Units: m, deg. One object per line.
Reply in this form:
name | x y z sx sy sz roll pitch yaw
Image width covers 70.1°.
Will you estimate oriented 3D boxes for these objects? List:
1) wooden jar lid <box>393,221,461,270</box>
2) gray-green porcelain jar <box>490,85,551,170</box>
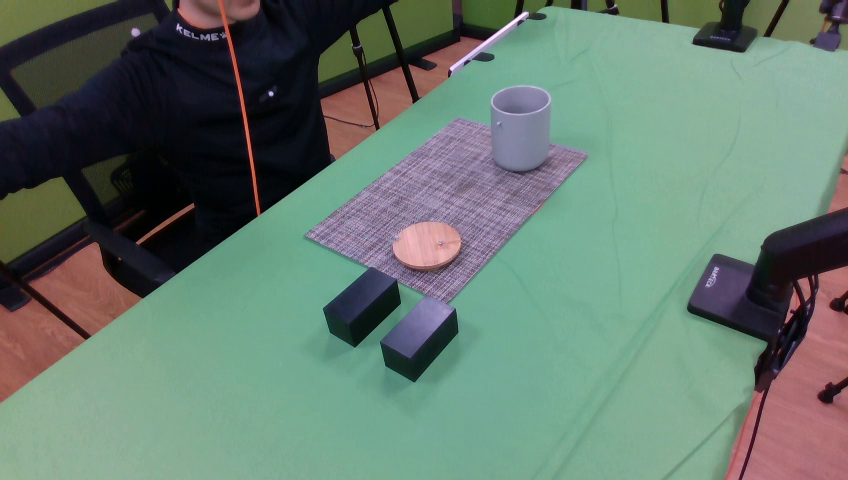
wooden jar lid | 0.005 0.010 0.952 0.108 0.021 0.108 -4 40 4
gray-green porcelain jar | 0.173 -0.198 1.087 0.106 0.127 0.105 -4 41 4
